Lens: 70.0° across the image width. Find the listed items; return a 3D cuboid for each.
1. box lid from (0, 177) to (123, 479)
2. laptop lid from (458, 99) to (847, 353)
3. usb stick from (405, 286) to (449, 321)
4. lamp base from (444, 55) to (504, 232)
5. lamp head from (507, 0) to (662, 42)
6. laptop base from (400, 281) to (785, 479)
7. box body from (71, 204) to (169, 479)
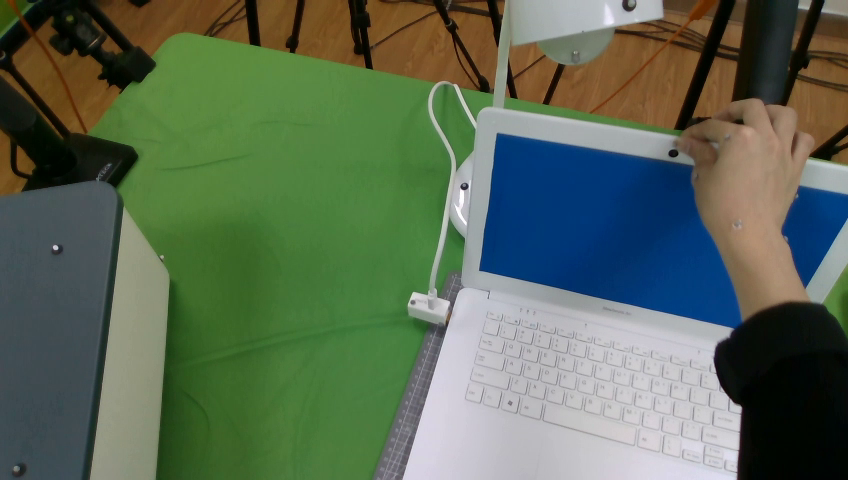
[{"bbox_3d":[-0.408,0.105,0.523,0.263,0.015,0.367,-9,59,-3],"label":"box lid"},{"bbox_3d":[0.212,-0.005,0.596,0.356,0.244,0.013,11,40,11],"label":"laptop lid"},{"bbox_3d":[0.010,0.073,0.677,0.059,0.027,0.021,17,56,10],"label":"usb stick"},{"bbox_3d":[0.097,-0.108,0.705,0.161,0.182,0.177,-20,56,-9],"label":"lamp base"},{"bbox_3d":[0.108,-0.212,0.439,0.112,0.112,0.123,-13,102,-4],"label":"lamp head"},{"bbox_3d":[0.174,0.182,0.615,0.353,0.023,0.234,12,63,11],"label":"laptop base"},{"bbox_3d":[-0.404,0.147,0.585,0.254,0.162,0.360,-9,58,-3],"label":"box body"}]
